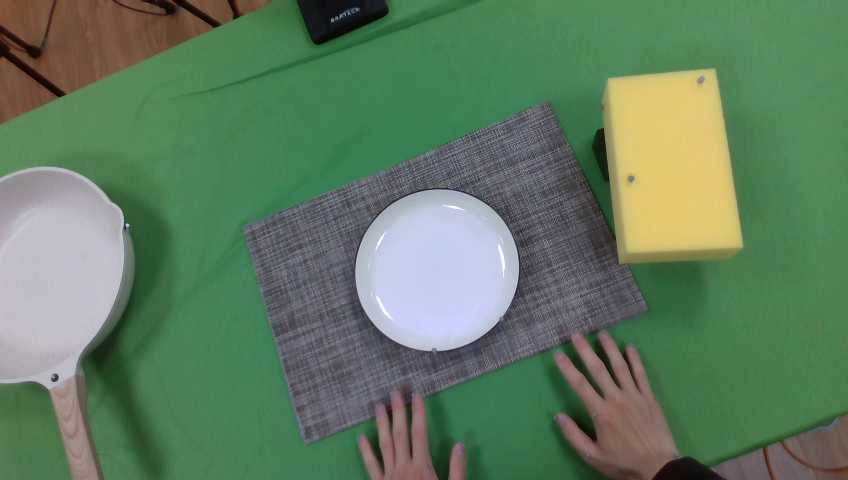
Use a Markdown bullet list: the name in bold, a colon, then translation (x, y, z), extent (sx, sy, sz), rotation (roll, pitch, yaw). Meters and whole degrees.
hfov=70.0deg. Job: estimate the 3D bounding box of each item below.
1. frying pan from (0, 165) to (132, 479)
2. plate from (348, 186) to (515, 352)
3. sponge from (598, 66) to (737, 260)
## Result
- **frying pan**: translation (-0.482, 0.129, 0.784), extent (0.307, 0.103, 0.483), rotation (-30, 66, 3)
- **plate**: translation (0.009, 0.037, 0.757), extent (0.207, 0.039, 0.206), rotation (-2, 77, 8)
- **sponge**: translation (0.269, -0.085, 0.685), extent (0.118, 0.061, 0.205), rotation (-4, 76, 8)
